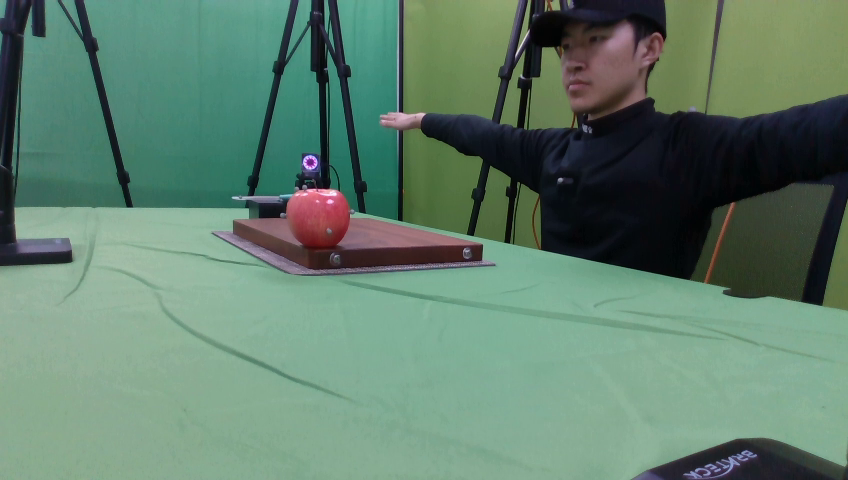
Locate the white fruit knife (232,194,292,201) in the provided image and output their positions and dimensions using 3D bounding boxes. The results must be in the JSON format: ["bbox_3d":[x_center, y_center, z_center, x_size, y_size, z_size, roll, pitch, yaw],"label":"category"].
[{"bbox_3d":[-0.299,-0.089,1.283,0.208,0.016,0.027,-2,-15,-17],"label":"white fruit knife"}]

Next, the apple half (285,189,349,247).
[{"bbox_3d":[-0.132,-0.026,0.765,0.081,0.074,0.053,2,10,-22],"label":"apple half"}]

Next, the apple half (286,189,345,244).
[{"bbox_3d":[-0.146,-0.033,0.801,0.081,0.081,0.032,0,11,-22],"label":"apple half"}]
